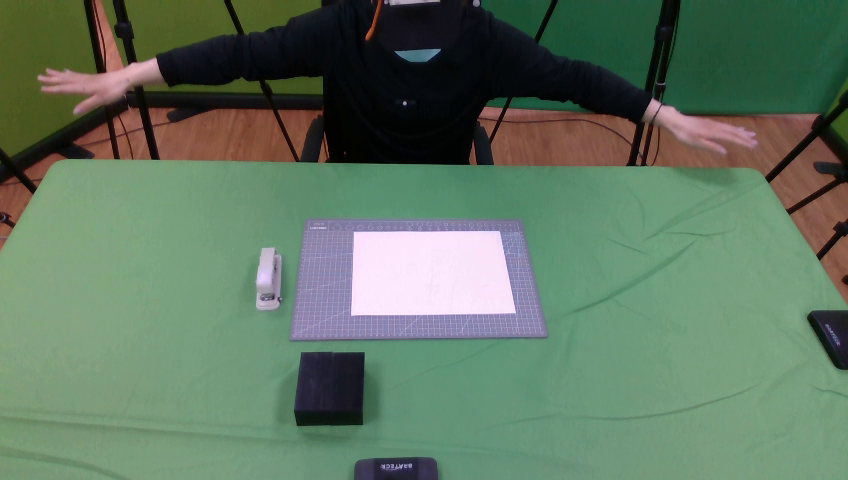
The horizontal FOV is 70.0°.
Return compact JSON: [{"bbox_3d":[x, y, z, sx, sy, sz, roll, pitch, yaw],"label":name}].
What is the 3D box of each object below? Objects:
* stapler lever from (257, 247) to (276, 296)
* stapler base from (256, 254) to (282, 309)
[{"bbox_3d":[-0.283,0.050,1.090,0.027,0.040,0.117,-2,44,-9],"label":"stapler lever"},{"bbox_3d":[-0.284,0.069,1.107,0.041,0.024,0.129,-2,45,-9],"label":"stapler base"}]
